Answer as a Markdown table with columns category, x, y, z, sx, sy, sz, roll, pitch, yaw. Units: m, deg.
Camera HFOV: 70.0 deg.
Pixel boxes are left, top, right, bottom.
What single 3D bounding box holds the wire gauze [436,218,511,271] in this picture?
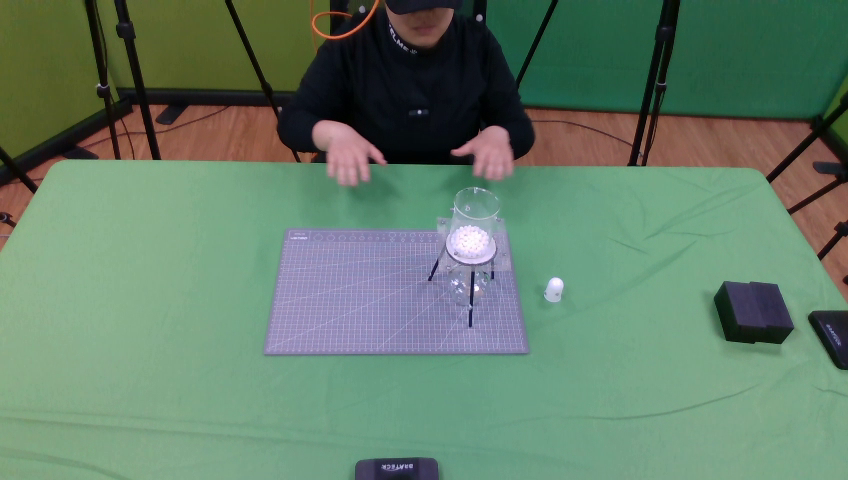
| category | x | y | z | sx | sy | sz | roll | pitch | yaw |
| --- | --- | --- | --- | --- | --- | --- | --- | --- | --- |
| wire gauze | 0.083 | 0.007 | 1.026 | 0.121 | 0.011 | 0.124 | 3 | 44 | -5 |

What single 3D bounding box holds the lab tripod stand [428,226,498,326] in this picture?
| category | x | y | z | sx | sy | sz | roll | pitch | yaw |
| --- | --- | --- | --- | --- | --- | --- | --- | --- | --- |
| lab tripod stand | 0.079 | 0.056 | 1.070 | 0.148 | 0.132 | 0.147 | 3 | 47 | -3 |

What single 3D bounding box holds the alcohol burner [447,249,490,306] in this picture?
| category | x | y | z | sx | sy | sz | roll | pitch | yaw |
| --- | --- | --- | --- | --- | --- | --- | --- | --- | --- |
| alcohol burner | 0.079 | 0.062 | 1.078 | 0.078 | 0.120 | 0.077 | 1 | 45 | -1 |

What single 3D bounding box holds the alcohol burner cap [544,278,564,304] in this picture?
| category | x | y | z | sx | sy | sz | roll | pitch | yaw |
| --- | --- | --- | --- | --- | --- | --- | --- | --- | --- |
| alcohol burner cap | 0.241 | 0.090 | 1.117 | 0.034 | 0.048 | 0.033 | 1 | 45 | -1 |

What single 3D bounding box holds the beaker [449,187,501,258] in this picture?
| category | x | y | z | sx | sy | sz | roll | pitch | yaw |
| --- | --- | --- | --- | --- | --- | --- | --- | --- | --- |
| beaker | 0.080 | -0.027 | 0.991 | 0.074 | 0.101 | 0.083 | 3 | 46 | -3 |
